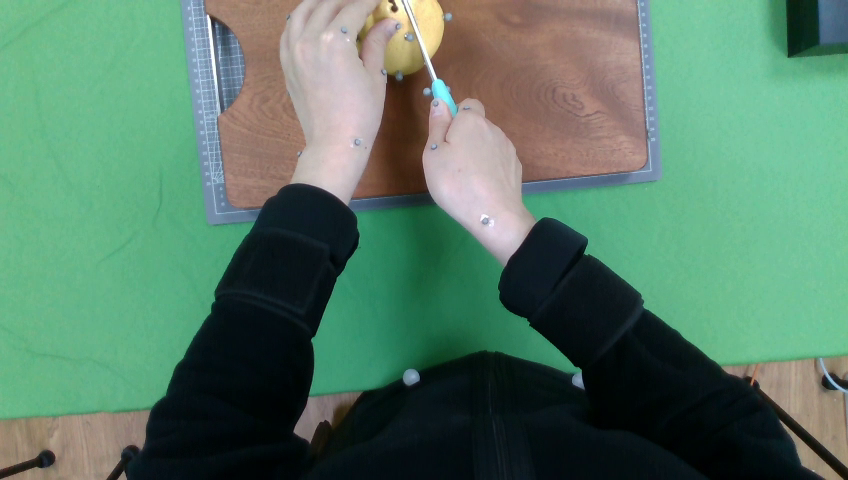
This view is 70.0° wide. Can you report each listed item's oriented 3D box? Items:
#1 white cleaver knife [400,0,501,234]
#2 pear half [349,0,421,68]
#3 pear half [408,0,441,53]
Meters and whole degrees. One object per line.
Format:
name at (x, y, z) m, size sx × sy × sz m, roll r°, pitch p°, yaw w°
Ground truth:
white cleaver knife at (0.007, -0.141, 0.505) m, size 0.021 × 0.066 × 0.286 m, roll -20°, pitch 89°, yaw 4°
pear half at (-0.036, -0.182, 0.510) m, size 0.056 × 0.110 × 0.076 m, roll -30°, pitch 89°, yaw 6°
pear half at (-0.003, -0.198, 0.520) m, size 0.031 × 0.088 × 0.070 m, roll -28°, pitch 89°, yaw -2°
